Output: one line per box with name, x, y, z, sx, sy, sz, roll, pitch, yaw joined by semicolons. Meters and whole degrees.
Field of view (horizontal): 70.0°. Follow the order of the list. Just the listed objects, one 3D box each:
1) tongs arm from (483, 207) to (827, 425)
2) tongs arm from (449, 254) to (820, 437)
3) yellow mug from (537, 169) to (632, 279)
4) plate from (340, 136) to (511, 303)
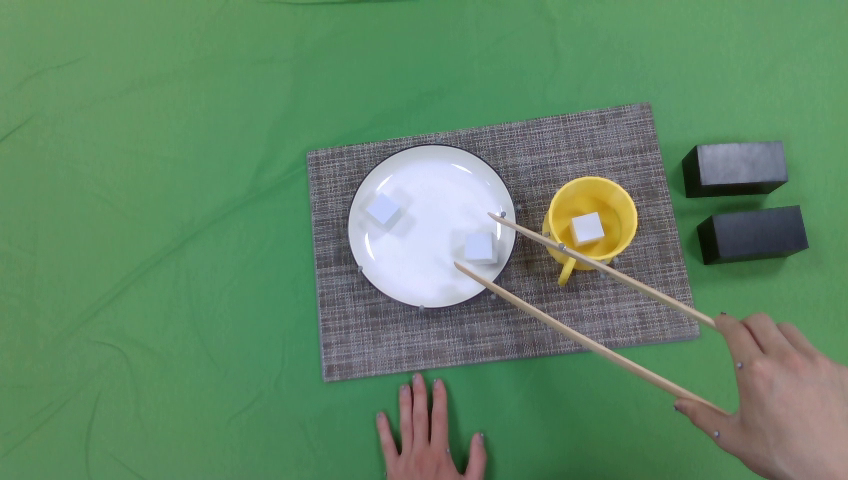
tongs arm;0.182;0.048;0.576;0.381;0.027;0.050;28;80;45
tongs arm;0.157;0.082;0.573;0.383;0.028;0.028;27;75;45
yellow mug;0.182;-0.013;0.716;0.099;0.064;0.130;24;81;8
plate;0.002;-0.024;0.747;0.207;0.039;0.206;-1;78;4
